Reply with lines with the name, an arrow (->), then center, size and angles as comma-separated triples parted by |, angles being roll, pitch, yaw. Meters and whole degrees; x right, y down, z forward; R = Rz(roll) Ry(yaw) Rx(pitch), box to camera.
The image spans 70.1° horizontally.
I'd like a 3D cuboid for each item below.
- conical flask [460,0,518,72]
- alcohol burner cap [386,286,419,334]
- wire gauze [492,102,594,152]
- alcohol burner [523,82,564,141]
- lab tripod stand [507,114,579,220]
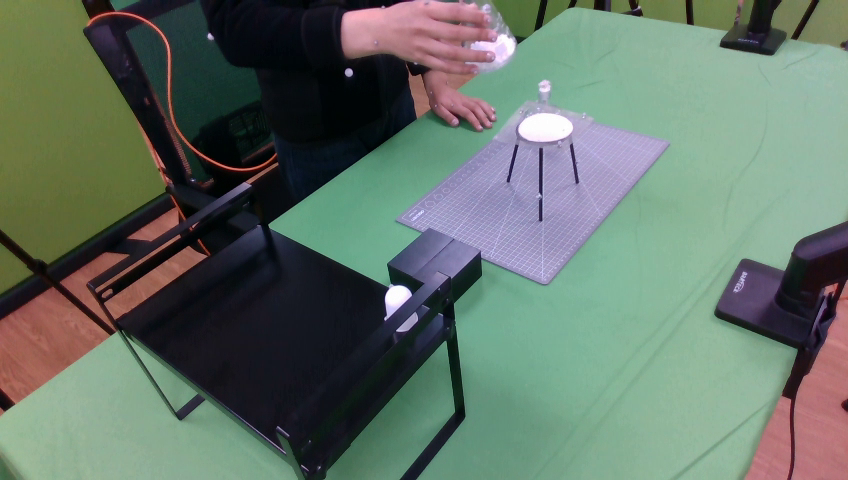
conical flask -> 0.071, -0.281, 0.764 | 0.075, 0.123, 0.075 | -13, 45, 14
alcohol burner cap -> -0.024, 0.067, 0.604 | 0.034, 0.048, 0.033 | -4, 40, 4
wire gauze -> 0.191, -0.180, 0.964 | 0.120, 0.011, 0.125 | 19, 48, 28
alcohol burner -> 0.230, -0.251, 1.161 | 0.078, 0.119, 0.077 | -4, 43, 4
lab tripod stand -> 0.199, -0.128, 1.005 | 0.148, 0.132, 0.147 | -3, 42, 3
